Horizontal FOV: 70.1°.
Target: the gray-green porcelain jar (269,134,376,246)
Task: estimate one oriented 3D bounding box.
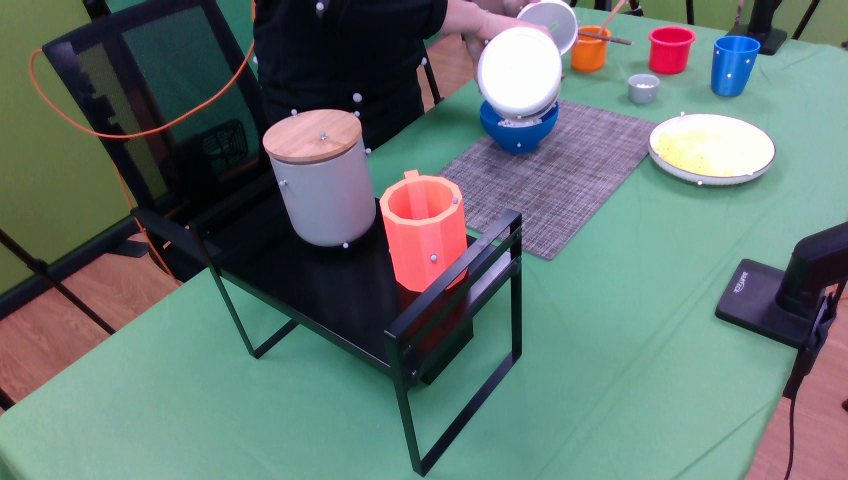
[{"bbox_3d":[-0.115,-0.064,0.715,0.106,0.127,0.105,-4,40,4],"label":"gray-green porcelain jar"}]

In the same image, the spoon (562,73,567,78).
[{"bbox_3d":[0.250,-0.336,1.332,0.194,0.022,0.041,-33,32,-25],"label":"spoon"}]

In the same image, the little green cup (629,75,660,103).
[{"bbox_3d":[0.458,-0.314,1.260,0.061,0.039,0.061,-4,40,4],"label":"little green cup"}]

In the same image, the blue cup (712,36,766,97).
[{"bbox_3d":[0.627,-0.350,1.227,0.092,0.100,0.092,-4,39,4],"label":"blue cup"}]

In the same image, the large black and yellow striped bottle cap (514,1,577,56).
[{"bbox_3d":[0.224,-0.385,1.116,0.115,0.115,0.018,0,54,9],"label":"large black and yellow striped bottle cap"}]

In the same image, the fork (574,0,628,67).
[{"bbox_3d":[0.413,-0.481,1.377,0.207,0.019,0.028,-56,43,12],"label":"fork"}]

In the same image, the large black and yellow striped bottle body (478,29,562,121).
[{"bbox_3d":[0.166,-0.270,1.020,0.130,0.130,0.184,3,7,13],"label":"large black and yellow striped bottle body"}]

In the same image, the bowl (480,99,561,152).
[{"bbox_3d":[0.185,-0.222,1.160,0.151,0.077,0.150,-4,40,4],"label":"bowl"}]

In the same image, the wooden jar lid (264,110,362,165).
[{"bbox_3d":[-0.122,-0.112,0.673,0.108,0.021,0.108,-4,37,4],"label":"wooden jar lid"}]

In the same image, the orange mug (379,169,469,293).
[{"bbox_3d":[-0.002,-0.019,0.665,0.083,0.101,0.125,-12,45,-4],"label":"orange mug"}]

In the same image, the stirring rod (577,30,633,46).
[{"bbox_3d":[0.382,-0.453,1.345,0.174,0.006,0.014,27,52,33],"label":"stirring rod"}]

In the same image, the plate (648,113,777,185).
[{"bbox_3d":[0.506,-0.158,1.073,0.209,0.038,0.208,-5,40,4],"label":"plate"}]
